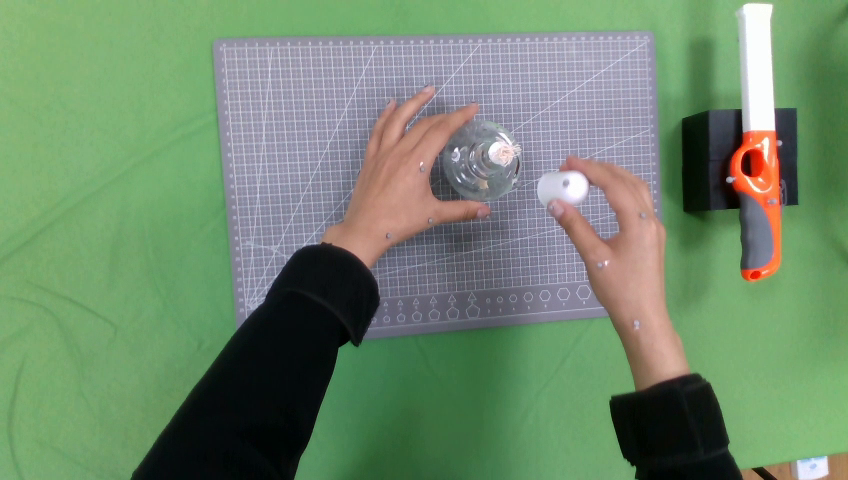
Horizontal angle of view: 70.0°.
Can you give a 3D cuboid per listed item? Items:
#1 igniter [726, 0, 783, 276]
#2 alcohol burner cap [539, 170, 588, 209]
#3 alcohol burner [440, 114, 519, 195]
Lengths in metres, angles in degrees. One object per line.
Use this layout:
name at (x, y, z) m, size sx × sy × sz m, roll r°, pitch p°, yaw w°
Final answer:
igniter at (0.331, -0.102, 0.608) m, size 0.057 × 0.025 × 0.276 m, roll -1°, pitch 90°, yaw -8°
alcohol burner cap at (0.120, -0.043, 0.511) m, size 0.034 × 0.048 × 0.034 m, roll 0°, pitch 92°, yaw -9°
alcohol burner at (0.057, -0.081, 0.567) m, size 0.078 × 0.119 × 0.078 m, roll 0°, pitch 92°, yaw -10°
